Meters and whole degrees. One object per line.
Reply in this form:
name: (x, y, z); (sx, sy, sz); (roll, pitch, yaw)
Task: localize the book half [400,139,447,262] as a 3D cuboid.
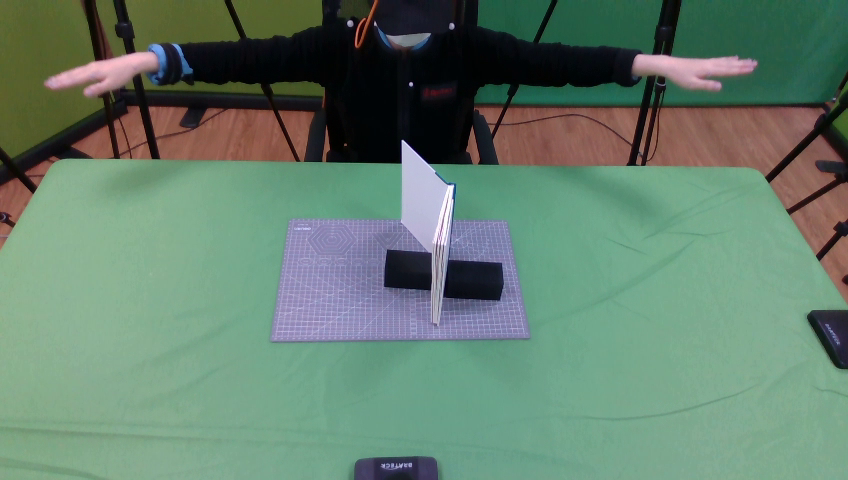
book half: (-0.005, -0.066, 1.124); (0.007, 0.211, 0.142); (-26, 53, -24)

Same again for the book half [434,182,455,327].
book half: (0.033, 0.028, 1.036); (0.016, 0.211, 0.148); (7, 46, 4)
